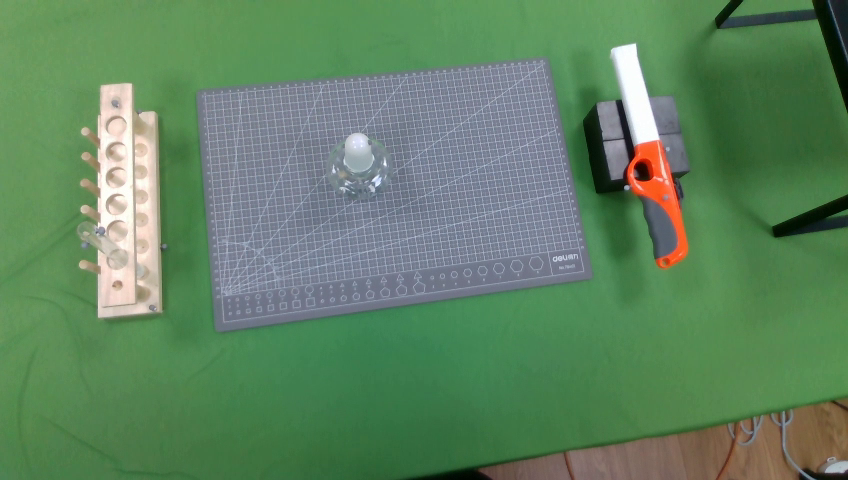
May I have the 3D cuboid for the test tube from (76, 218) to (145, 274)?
[{"bbox_3d":[-0.312,0.009,0.610,0.017,0.151,0.017,2,72,-6],"label":"test tube"}]

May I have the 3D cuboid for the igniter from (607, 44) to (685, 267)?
[{"bbox_3d":[0.263,-0.104,0.721,0.057,0.025,0.275,-10,78,5],"label":"igniter"}]

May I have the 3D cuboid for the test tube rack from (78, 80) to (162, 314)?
[{"bbox_3d":[-0.341,-0.045,0.670,0.067,0.085,0.241,-5,78,-6],"label":"test tube rack"}]

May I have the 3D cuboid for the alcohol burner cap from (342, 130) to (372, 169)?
[{"bbox_3d":[-0.073,-0.100,0.653,0.034,0.048,0.033,2,71,-5],"label":"alcohol burner cap"}]

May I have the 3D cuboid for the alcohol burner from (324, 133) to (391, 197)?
[{"bbox_3d":[-0.076,-0.091,0.688,0.078,0.119,0.077,1,79,-4],"label":"alcohol burner"}]
